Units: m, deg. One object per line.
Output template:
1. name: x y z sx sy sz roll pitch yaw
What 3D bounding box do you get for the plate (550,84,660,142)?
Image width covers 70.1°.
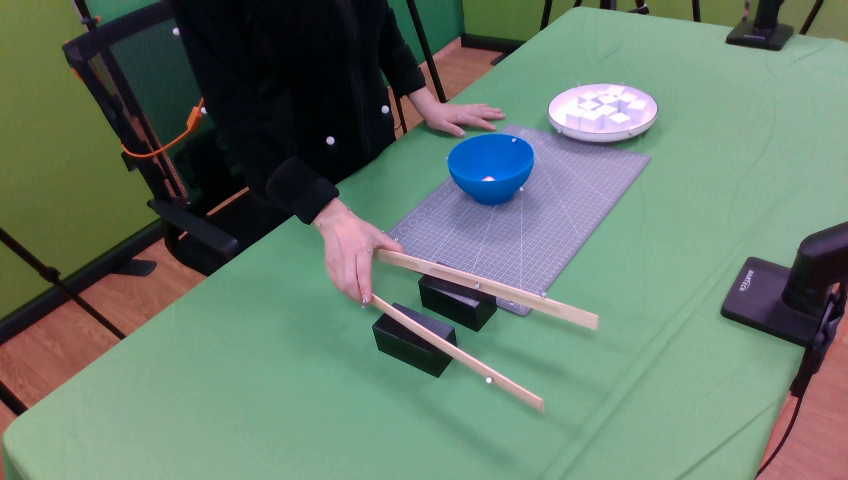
1. plate: 0.355 -0.246 1.195 0.207 0.039 0.206 -5 39 5

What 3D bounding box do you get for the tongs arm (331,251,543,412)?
1. tongs arm: -0.004 0.107 0.779 0.384 0.028 0.028 29 58 36

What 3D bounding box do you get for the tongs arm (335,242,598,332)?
1. tongs arm: 0.042 0.064 0.823 0.382 0.026 0.051 18 49 28

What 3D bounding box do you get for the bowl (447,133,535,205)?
1. bowl: 0.119 -0.114 1.051 0.151 0.077 0.150 -6 40 5
